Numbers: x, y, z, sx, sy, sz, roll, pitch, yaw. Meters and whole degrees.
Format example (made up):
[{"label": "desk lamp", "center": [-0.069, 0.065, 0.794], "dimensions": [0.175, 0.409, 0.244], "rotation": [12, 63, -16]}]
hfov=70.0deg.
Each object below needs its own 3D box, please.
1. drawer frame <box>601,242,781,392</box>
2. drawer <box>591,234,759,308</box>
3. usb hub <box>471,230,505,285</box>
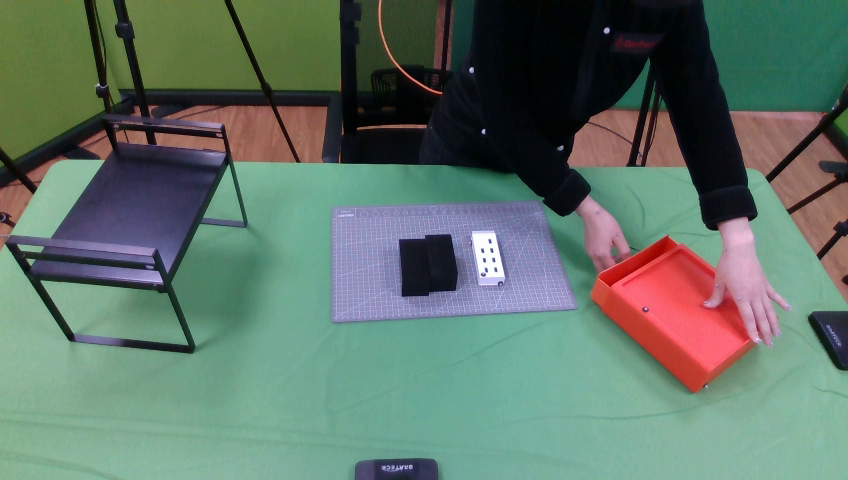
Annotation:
[{"label": "drawer frame", "center": [0.463, 0.125, 1.064], "dimensions": [0.202, 0.083, 0.212], "rotation": [-26, 54, -26]}, {"label": "drawer", "center": [0.444, 0.108, 1.084], "dimensions": [0.194, 0.073, 0.210], "rotation": [-25, 53, -26]}, {"label": "usb hub", "center": [0.122, 0.033, 1.167], "dimensions": [0.049, 0.025, 0.124], "rotation": [-2, 46, -4]}]
